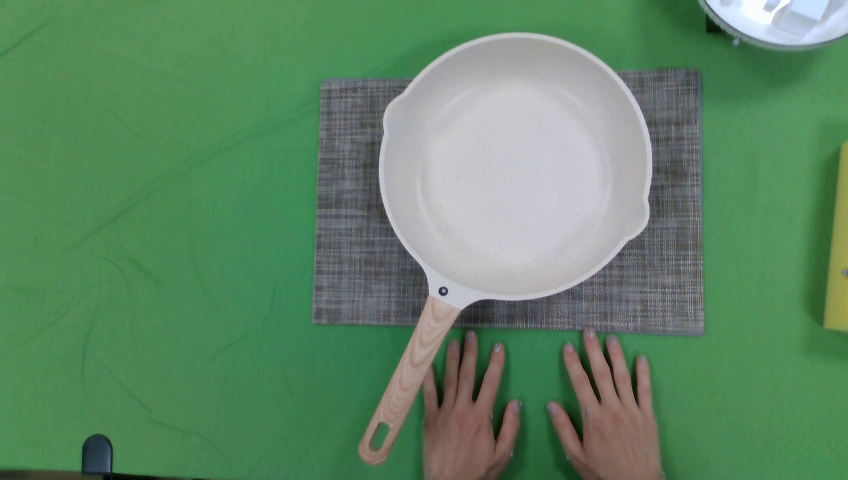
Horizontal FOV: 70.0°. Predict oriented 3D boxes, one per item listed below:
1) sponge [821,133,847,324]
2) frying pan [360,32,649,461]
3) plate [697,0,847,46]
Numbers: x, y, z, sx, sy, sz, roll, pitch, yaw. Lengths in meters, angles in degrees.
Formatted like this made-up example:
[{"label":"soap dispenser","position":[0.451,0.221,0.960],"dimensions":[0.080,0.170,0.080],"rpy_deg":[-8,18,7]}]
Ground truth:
[{"label":"sponge","position":[0.496,-0.009,0.626],"dimensions":[0.118,0.061,0.206],"rpy_deg":[7,86,9]},{"label":"frying pan","position":[0.048,0.010,0.664],"dimensions":[0.306,0.103,0.486],"rpy_deg":[26,80,11]},{"label":"plate","position":[0.378,-0.299,0.635],"dimensions":[0.207,0.039,0.207],"rpy_deg":[-1,85,7]}]
